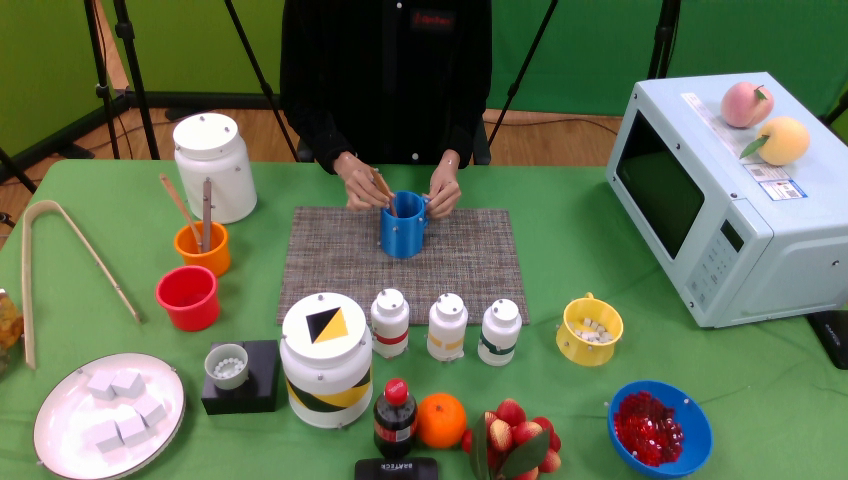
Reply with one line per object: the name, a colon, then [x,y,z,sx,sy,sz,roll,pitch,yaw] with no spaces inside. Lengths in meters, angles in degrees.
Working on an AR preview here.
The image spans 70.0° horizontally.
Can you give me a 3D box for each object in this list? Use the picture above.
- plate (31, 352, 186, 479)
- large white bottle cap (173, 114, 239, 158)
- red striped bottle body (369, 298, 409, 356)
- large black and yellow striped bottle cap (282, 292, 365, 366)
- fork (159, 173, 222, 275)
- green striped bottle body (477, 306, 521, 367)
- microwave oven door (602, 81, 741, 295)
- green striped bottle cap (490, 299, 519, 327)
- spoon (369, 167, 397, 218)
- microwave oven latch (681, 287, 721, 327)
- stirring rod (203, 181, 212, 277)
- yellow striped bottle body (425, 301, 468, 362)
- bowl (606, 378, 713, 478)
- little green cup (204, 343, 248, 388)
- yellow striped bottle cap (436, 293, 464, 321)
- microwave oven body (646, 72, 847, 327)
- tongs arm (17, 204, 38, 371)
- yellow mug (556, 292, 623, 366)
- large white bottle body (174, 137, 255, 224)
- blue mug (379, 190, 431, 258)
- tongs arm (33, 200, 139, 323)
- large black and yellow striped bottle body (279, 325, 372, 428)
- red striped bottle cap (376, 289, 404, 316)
plate: [-0.459,0.262,0.898,0.209,0.038,0.208,2,45,-2]
large white bottle cap: [-0.403,-0.195,1.122,0.115,0.018,0.114,2,47,-2]
red striped bottle body: [-0.058,0.134,0.997,0.063,0.120,0.062,4,47,-4]
large black and yellow striped bottle cap: [-0.138,0.121,0.841,0.115,0.019,0.114,3,47,-3]
fork: [-0.427,-0.029,1.103,0.028,0.018,0.207,-31,99,-30]
green striped bottle body: [0.124,0.151,0.995,0.063,0.120,0.063,2,46,-2]
microwave oven door: [0.456,-0.107,1.162,0.039,0.245,0.353,-7,47,-11]
green striped bottle cap: [0.127,0.115,0.958,0.044,0.020,0.044,2,48,-2]
spoon: [-0.067,-0.068,1.115,0.041,0.195,0.021,26,62,34]
microwave oven latch: [0.494,0.119,1.087,0.030,0.029,0.078,-6,46,-9]
stirring rod: [-0.396,-0.021,1.108,0.014,0.006,0.176,-1,89,-1]
yellow striped bottle body: [0.037,0.142,0.996,0.063,0.121,0.062,3,46,-3]
bowl: [0.340,0.292,0.906,0.151,0.077,0.150,2,46,-2]
little green cup: [-0.294,0.190,0.909,0.061,0.039,0.061,1,48,0]
yellow striped bottle cap: [0.041,0.106,0.959,0.044,0.019,0.044,-1,49,1]
microwave oven body: [0.607,-0.089,1.164,0.326,0.261,0.438,-7,46,-10]
tongs arm: [-0.698,0.070,1.068,0.028,0.028,0.385,-21,51,-13]
yellow mug: [0.285,0.145,1.051,0.100,0.064,0.130,7,45,3]
large white bottle body: [-0.408,-0.136,1.183,0.131,0.185,0.130,2,46,-2]
blue mug: [-0.032,-0.037,1.169,0.116,0.106,0.082,-29,55,-28]
tongs arm: [-0.622,0.035,1.105,0.051,0.026,0.382,-32,56,-26]
large black and yellow striped bottle body: [-0.143,0.181,0.900,0.131,0.185,0.130,2,46,-2]
red striped bottle cap: [-0.055,0.098,0.959,0.044,0.018,0.044,0,48,0]
